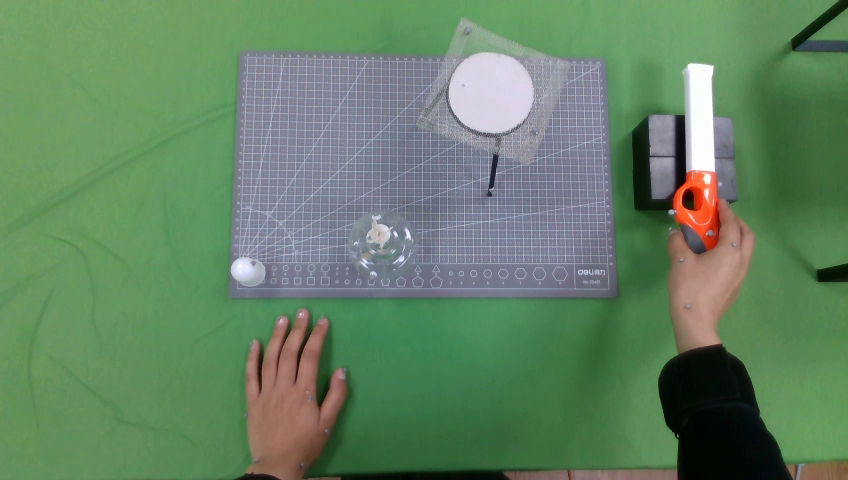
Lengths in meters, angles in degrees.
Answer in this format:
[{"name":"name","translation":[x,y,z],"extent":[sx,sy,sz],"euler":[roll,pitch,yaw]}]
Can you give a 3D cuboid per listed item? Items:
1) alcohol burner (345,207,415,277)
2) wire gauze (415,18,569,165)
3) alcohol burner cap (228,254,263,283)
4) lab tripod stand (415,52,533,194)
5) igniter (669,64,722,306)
[{"name":"alcohol burner","translation":[-0.048,0.000,0.650],"extent":[0.078,0.119,0.077],"euler":[1,82,-3]},{"name":"wire gauze","translation":[0.069,-0.148,0.603],"extent":[0.121,0.011,0.124],"euler":[23,79,0]},{"name":"alcohol burner cap","translation":[-0.200,0.030,0.672],"extent":[0.034,0.048,0.033],"euler":[1,80,-4]},{"name":"lab tripod stand","translation":[0.064,-0.139,0.669],"extent":[0.148,0.132,0.147],"euler":[1,78,-3]},{"name":"igniter","translation":[0.302,-0.064,0.676],"extent":[0.057,0.025,0.275],"euler":[5,80,-3]}]
